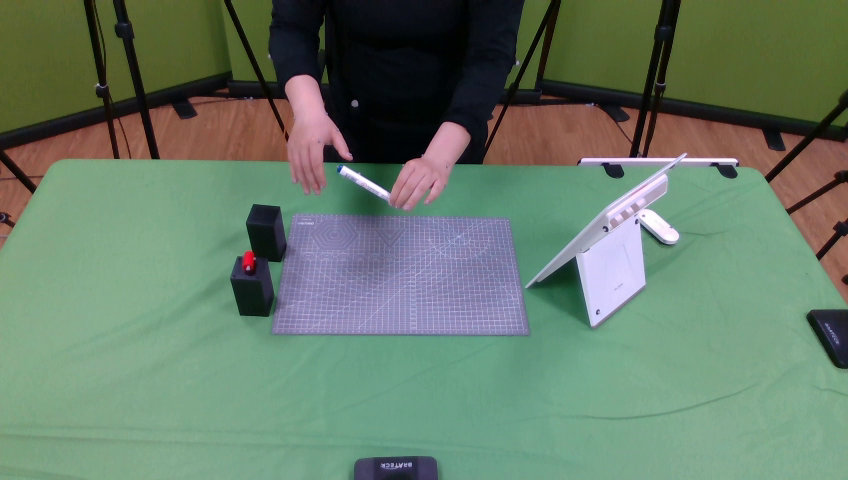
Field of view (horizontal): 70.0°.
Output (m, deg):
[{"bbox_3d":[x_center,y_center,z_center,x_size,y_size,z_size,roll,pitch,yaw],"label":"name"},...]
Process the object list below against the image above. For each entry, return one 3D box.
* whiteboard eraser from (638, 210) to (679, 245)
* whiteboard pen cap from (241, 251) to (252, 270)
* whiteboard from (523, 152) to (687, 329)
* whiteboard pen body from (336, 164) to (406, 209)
[{"bbox_3d":[0.485,-0.027,1.260,0.041,0.019,0.100,-21,50,-21],"label":"whiteboard eraser"},{"bbox_3d":[-0.294,0.033,1.005,0.017,0.017,0.032,-3,44,-7],"label":"whiteboard pen cap"},{"bbox_3d":[0.346,0.024,1.047,0.217,0.306,0.143,-30,74,-29],"label":"whiteboard"},{"bbox_3d":[-0.090,-0.090,1.047,0.141,0.017,0.017,31,44,-15],"label":"whiteboard pen body"}]
